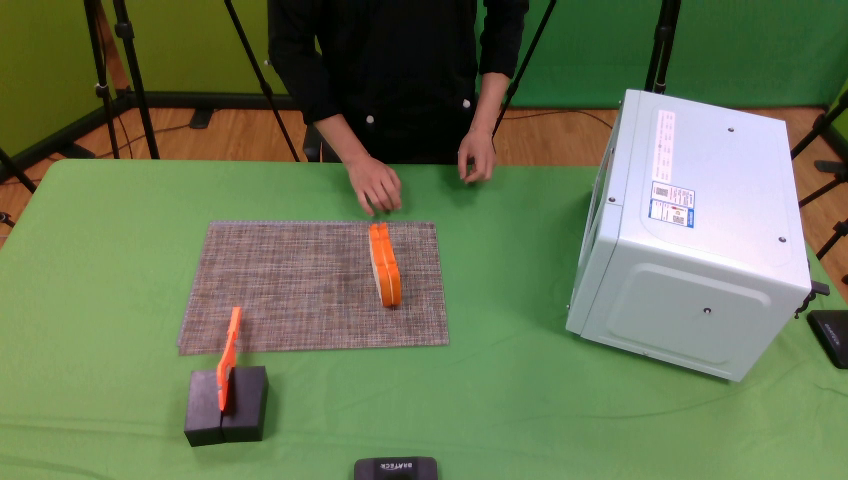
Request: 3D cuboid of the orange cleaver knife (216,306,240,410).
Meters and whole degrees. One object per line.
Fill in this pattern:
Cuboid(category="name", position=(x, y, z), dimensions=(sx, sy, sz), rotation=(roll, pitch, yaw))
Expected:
Cuboid(category="orange cleaver knife", position=(-0.307, 0.180, 0.957), dimensions=(0.012, 0.077, 0.210), rotation=(-2, 25, -8))

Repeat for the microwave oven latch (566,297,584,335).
Cuboid(category="microwave oven latch", position=(0.268, 0.126, 1.059), dimensions=(0.030, 0.029, 0.079), rotation=(16, 46, 12))

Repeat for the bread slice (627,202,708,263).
Cuboid(category="bread slice", position=(0.474, -0.021, 1.168), dimensions=(0.134, 0.018, 0.106), rotation=(-30, 55, -16))

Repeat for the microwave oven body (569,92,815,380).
Cuboid(category="microwave oven body", position=(0.468, -0.021, 1.082), dimensions=(0.325, 0.261, 0.440), rotation=(15, 46, 11))

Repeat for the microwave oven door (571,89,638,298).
Cuboid(category="microwave oven door", position=(0.343, -0.091, 1.133), dimensions=(0.039, 0.245, 0.354), rotation=(15, 47, 10))

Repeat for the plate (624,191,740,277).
Cuboid(category="plate", position=(0.482, -0.007, 1.146), dimensions=(0.208, 0.039, 0.206), rotation=(0, 49, 0))
